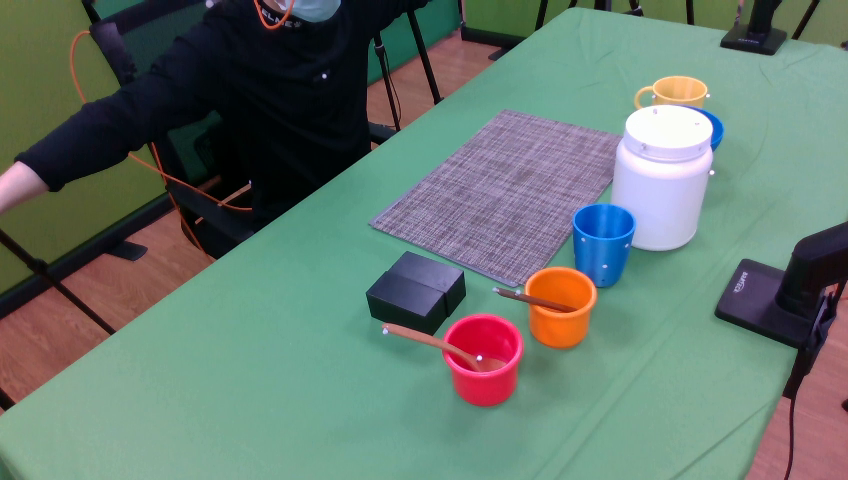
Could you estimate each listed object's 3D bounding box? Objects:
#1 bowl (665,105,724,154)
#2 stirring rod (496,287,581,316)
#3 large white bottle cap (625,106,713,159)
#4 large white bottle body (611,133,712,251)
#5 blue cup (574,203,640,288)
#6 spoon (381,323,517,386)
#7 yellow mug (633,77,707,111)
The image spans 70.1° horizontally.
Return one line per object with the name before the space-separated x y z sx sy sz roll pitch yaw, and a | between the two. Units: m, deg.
bowl | 0.438 -0.166 1.063 0.151 0.077 0.150 -4 41 4
stirring rod | 0.150 0.080 0.773 0.178 0.006 0.014 17 21 -42
large white bottle cap | 0.342 -0.153 0.848 0.115 0.018 0.114 -4 41 4
large white bottle body | 0.351 -0.090 0.904 0.130 0.185 0.130 -5 41 4
blue cup | 0.254 0.013 0.864 0.092 0.100 0.092 -4 38 4
spoon | 0.033 0.133 0.722 0.195 0.021 0.041 29 32 -26
yellow mug | 0.478 -0.270 1.186 0.130 0.064 0.100 10 44 21
